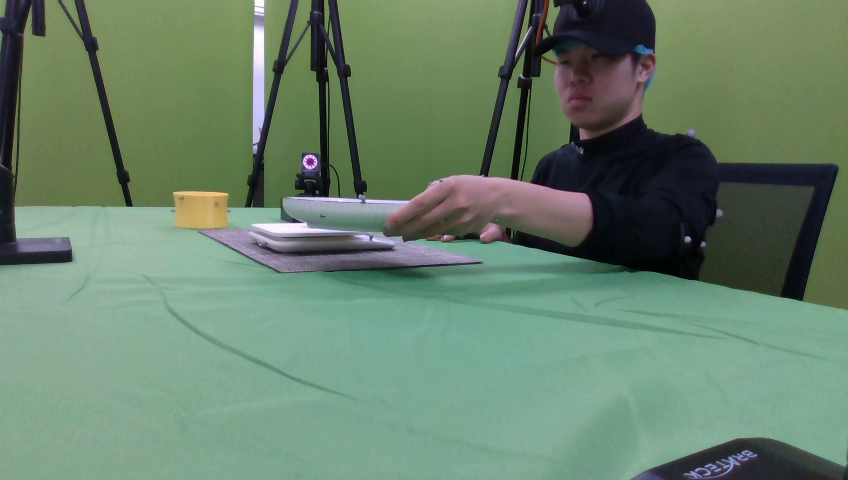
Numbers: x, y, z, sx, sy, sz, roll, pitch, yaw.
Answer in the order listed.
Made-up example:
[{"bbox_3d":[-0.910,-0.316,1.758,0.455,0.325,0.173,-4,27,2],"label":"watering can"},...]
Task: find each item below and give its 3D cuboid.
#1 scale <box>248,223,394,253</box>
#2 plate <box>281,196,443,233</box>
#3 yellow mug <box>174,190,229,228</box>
[{"bbox_3d":[-0.162,-0.006,0.954,0.202,0.031,0.148,-2,8,-32],"label":"scale"},{"bbox_3d":[-0.080,-0.035,0.782,0.209,0.038,0.209,3,5,0],"label":"plate"},{"bbox_3d":[-0.427,-0.063,1.189,0.100,0.064,0.131,5,7,14],"label":"yellow mug"}]
